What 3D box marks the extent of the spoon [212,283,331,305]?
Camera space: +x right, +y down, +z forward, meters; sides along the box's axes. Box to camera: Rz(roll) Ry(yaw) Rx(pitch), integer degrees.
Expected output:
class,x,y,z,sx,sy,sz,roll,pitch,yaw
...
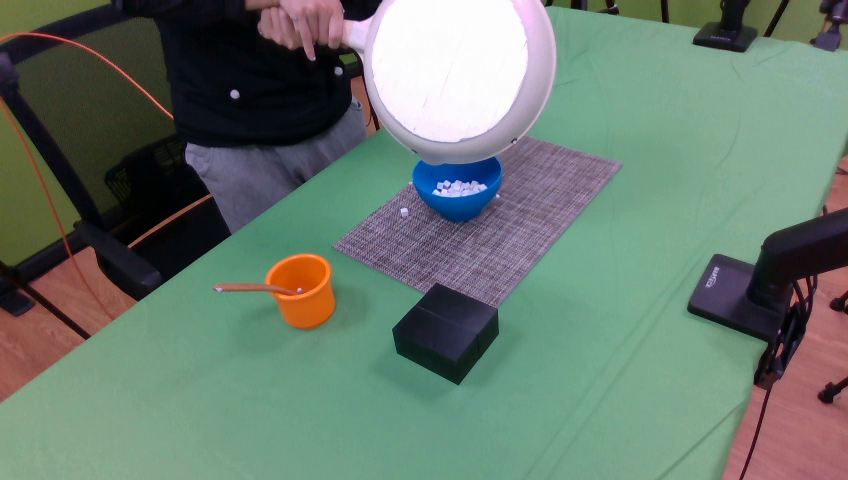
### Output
class,x,y,z,sx,sy,sz,roll,pitch,yaw
spoon,-0.201,0.069,0.819,0.041,0.195,0.021,32,99,37

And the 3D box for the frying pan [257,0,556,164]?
class,x,y,z,sx,sy,sz,roll,pitch,yaw
frying pan,-0.050,-0.291,0.904,0.485,0.307,0.103,21,15,19

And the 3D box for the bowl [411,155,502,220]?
class,x,y,z,sx,sy,sz,roll,pitch,yaw
bowl,0.057,-0.086,1.010,0.151,0.077,0.150,-4,40,4
